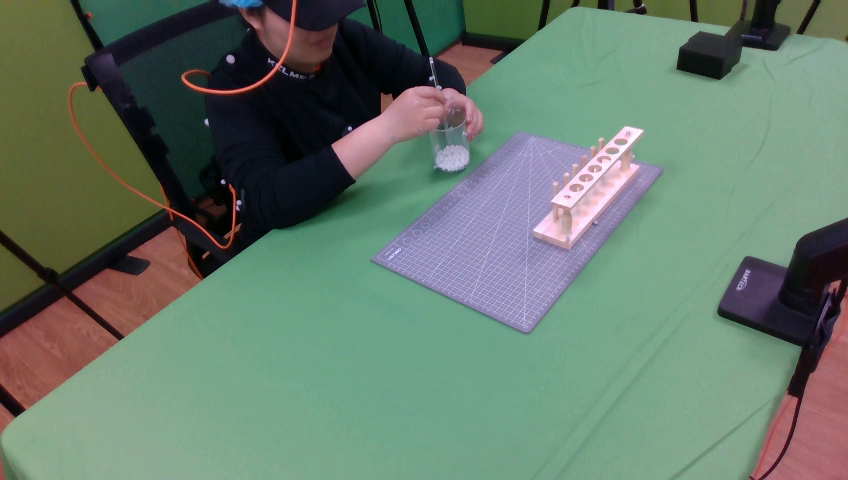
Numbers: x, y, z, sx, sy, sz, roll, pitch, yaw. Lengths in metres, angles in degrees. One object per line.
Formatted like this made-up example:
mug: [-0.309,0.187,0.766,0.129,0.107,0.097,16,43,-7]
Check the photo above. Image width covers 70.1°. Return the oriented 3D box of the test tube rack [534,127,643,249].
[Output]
test tube rack: [0.271,-0.094,0.990,0.066,0.085,0.243,23,50,34]

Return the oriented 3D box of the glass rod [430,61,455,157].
glass rod: [0.033,-0.230,1.087,0.008,0.201,0.008,-9,42,9]

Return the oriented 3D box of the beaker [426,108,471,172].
beaker: [0.048,-0.184,1.120,0.073,0.101,0.084,7,46,19]
